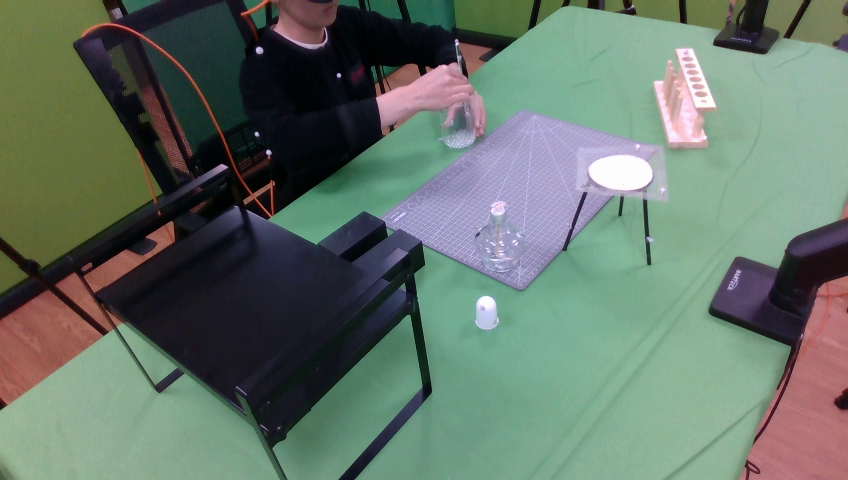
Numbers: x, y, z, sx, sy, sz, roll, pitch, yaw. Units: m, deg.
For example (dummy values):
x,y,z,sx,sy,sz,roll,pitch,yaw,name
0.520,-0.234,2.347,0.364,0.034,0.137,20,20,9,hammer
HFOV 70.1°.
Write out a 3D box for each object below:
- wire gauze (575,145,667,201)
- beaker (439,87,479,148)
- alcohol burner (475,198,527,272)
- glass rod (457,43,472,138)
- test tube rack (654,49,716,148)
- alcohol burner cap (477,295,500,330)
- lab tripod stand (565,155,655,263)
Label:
x,y,z,sx,sy,sz,roll,pitch,yaw,name
0.279,-0.100,0.861,0.124,0.011,0.121,5,43,14,wire gauze
0.073,-0.239,1.183,0.073,0.101,0.084,29,53,35,beaker
0.113,-0.012,0.897,0.078,0.119,0.077,-6,40,6,alcohol burner
0.078,-0.278,1.146,0.008,0.201,0.008,-7,42,7,glass rod
0.502,-0.280,1.176,0.066,0.085,0.241,2,41,11,test tube rack
0.089,0.097,0.833,0.034,0.048,0.033,-4,42,4,alcohol burner cap
0.285,-0.046,0.901,0.148,0.132,0.147,-5,42,5,lab tripod stand
